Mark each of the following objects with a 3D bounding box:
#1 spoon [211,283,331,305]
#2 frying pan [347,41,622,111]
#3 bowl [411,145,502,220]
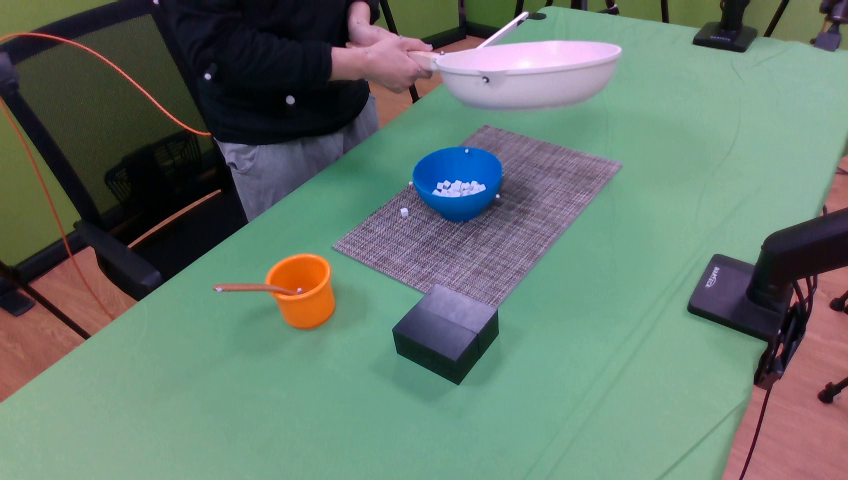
[{"bbox_3d":[-0.201,0.069,0.819,0.041,0.195,0.021,32,99,37],"label":"spoon"},{"bbox_3d":[0.078,-0.299,1.024,0.485,0.103,0.308,17,30,23],"label":"frying pan"},{"bbox_3d":[0.057,-0.086,1.010,0.151,0.077,0.150,-4,41,4],"label":"bowl"}]
